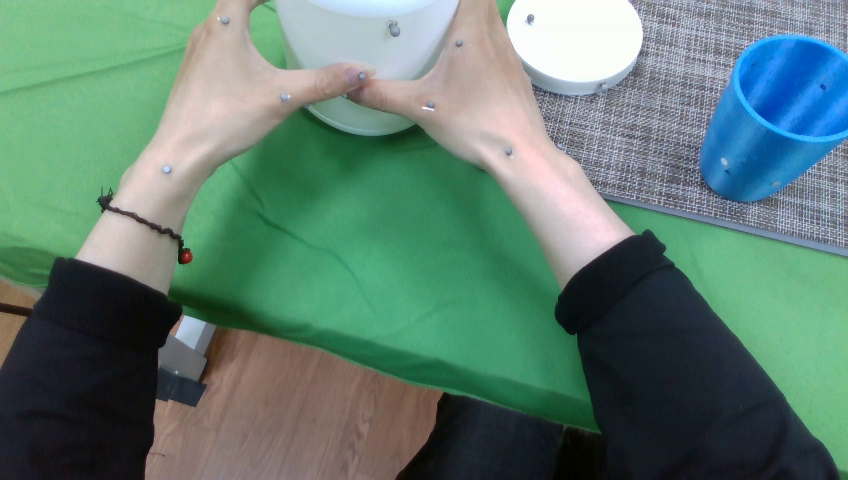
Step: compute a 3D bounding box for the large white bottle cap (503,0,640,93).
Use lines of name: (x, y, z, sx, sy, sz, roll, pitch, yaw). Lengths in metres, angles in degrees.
large white bottle cap: (0.125, -0.177, 0.516, 0.115, 0.018, 0.114, 0, 67, 0)

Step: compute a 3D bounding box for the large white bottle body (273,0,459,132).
large white bottle body: (-0.040, -0.176, 0.421, 0.131, 0.185, 0.129, 2, 69, -4)

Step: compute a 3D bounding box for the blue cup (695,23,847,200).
blue cup: (0.238, -0.077, 0.425, 0.092, 0.101, 0.092, -1, 65, 2)
